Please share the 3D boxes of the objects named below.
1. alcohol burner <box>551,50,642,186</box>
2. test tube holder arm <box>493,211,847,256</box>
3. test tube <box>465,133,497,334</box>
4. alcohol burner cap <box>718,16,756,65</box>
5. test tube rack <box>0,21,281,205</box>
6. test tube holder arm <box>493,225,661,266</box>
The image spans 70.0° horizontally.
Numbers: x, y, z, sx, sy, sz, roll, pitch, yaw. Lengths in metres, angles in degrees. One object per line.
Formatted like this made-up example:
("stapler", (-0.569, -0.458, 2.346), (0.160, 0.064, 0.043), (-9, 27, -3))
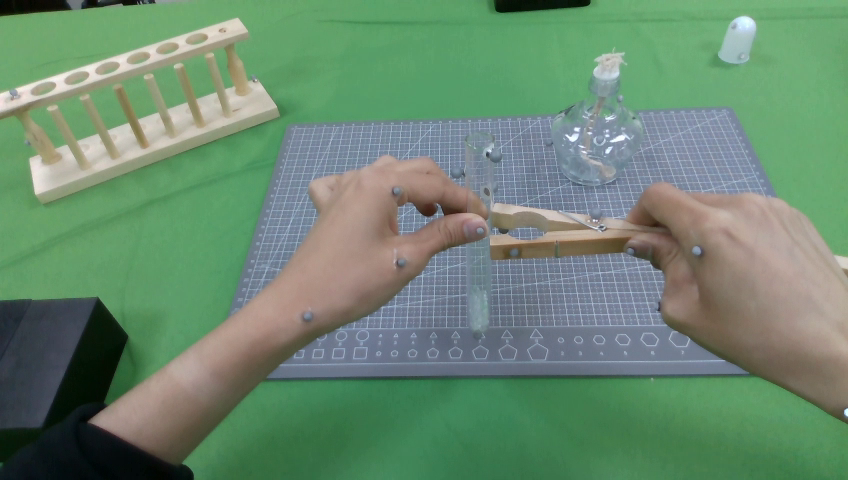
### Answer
("alcohol burner", (0.149, -0.105, 0.516), (0.078, 0.120, 0.077), (-2, 46, 3))
("test tube holder arm", (0.126, -0.004, 0.322), (0.178, 0.015, 0.013), (3, 61, 15))
("test tube", (0.033, 0.004, 0.354), (0.017, 0.151, 0.017), (-2, 43, 2))
("alcohol burner cap", (0.339, -0.216, 0.650), (0.034, 0.048, 0.033), (-4, 48, 5))
("test tube rack", (-0.277, -0.130, 0.603), (0.242, 0.086, 0.066), (-25, 50, -16))
("test tube holder arm", (0.082, 0.002, 0.329), (0.088, 0.015, 0.010), (-8, 58, 8))
